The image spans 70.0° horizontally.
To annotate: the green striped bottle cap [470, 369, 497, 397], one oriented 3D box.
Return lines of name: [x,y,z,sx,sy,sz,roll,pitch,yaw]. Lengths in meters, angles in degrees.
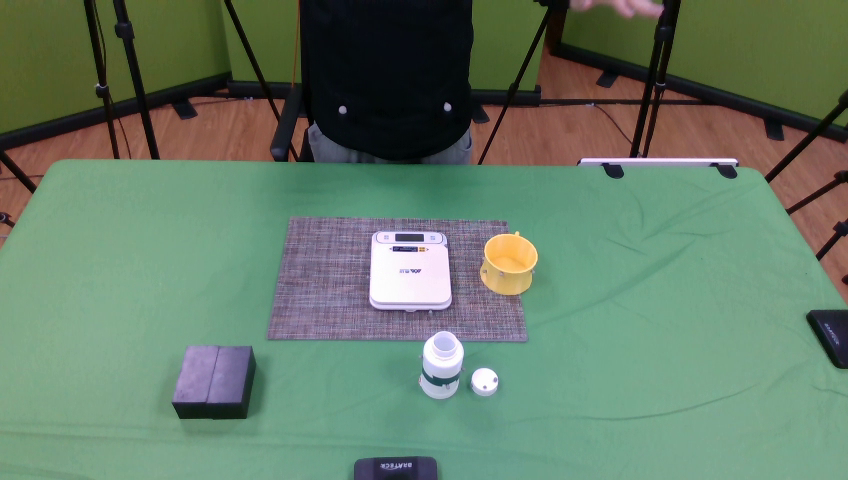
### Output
green striped bottle cap: [0.097,0.232,0.989,0.044,0.020,0.044,2,40,-1]

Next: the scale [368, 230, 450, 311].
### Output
scale: [-0.029,0.048,1.137,0.149,0.032,0.199,1,46,-4]

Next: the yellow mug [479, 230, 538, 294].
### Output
yellow mug: [0.162,0.033,1.143,0.100,0.064,0.130,14,46,9]

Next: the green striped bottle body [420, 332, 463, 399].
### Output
green striped bottle body: [0.027,0.193,0.948,0.063,0.120,0.063,2,47,-2]
